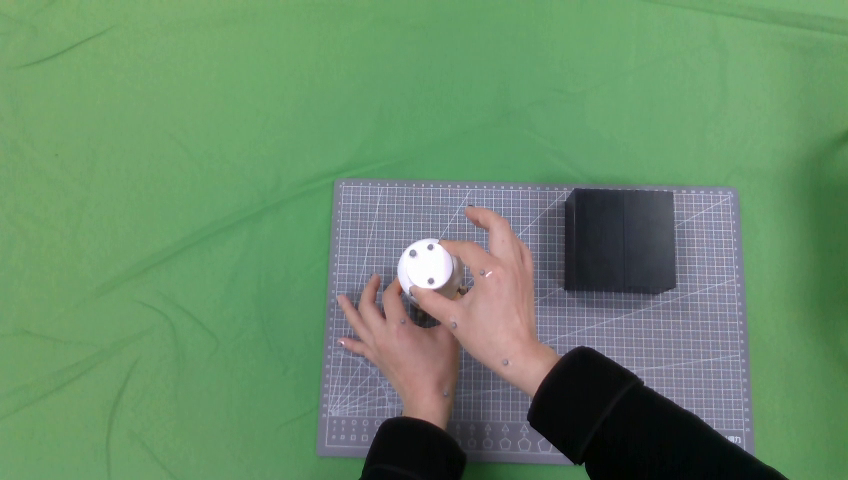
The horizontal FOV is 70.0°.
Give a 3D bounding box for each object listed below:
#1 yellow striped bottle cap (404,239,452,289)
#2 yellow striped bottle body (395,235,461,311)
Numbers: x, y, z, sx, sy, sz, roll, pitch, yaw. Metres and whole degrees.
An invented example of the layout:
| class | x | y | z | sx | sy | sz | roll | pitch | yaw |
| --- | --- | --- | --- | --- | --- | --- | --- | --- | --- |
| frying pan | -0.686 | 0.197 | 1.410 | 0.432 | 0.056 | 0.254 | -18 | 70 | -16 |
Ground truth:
| class | x | y | z | sx | sy | sz | roll | pitch | yaw |
| --- | --- | --- | --- | --- | --- | --- | --- | --- | --- |
| yellow striped bottle cap | 0.003 | 0.022 | 0.550 | 0.044 | 0.019 | 0.044 | 0 | 78 | 2 |
| yellow striped bottle body | 0.004 | 0.033 | 0.601 | 0.063 | 0.121 | 0.062 | 0 | 78 | 1 |
